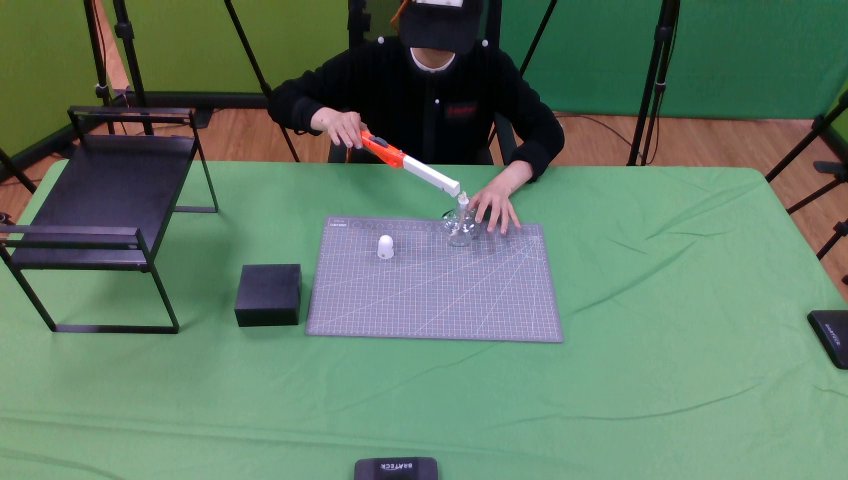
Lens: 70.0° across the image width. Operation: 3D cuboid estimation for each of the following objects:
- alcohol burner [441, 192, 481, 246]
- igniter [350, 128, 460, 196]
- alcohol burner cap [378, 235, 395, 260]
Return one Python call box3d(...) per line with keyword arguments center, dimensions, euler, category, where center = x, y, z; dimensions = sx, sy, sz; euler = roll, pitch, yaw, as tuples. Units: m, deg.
box3d(center=(0.074, -0.046, 1.176), dimensions=(0.078, 0.119, 0.077), euler=(2, 44, -2), category="alcohol burner")
box3d(center=(-0.044, -0.158, 1.192), dimensions=(0.275, 0.057, 0.025), euler=(30, 60, 25), category="igniter")
box3d(center=(-0.073, 0.012, 1.160), dimensions=(0.034, 0.048, 0.033), euler=(1, 46, 0), category="alcohol burner cap")
